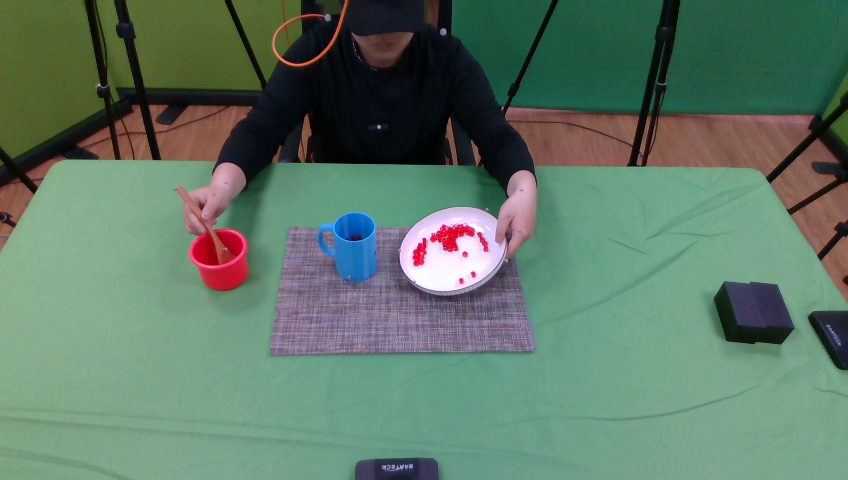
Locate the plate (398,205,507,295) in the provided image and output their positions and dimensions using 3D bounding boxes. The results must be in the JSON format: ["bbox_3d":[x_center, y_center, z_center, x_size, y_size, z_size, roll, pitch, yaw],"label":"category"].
[{"bbox_3d":[0.055,0.021,1.139,0.207,0.039,0.206,-9,48,11],"label":"plate"}]

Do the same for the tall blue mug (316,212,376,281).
[{"bbox_3d":[-0.142,0.014,1.109,0.107,0.108,0.077,-5,47,-8],"label":"tall blue mug"}]

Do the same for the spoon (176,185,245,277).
[{"bbox_3d":[-0.381,-0.015,1.083,0.021,0.194,0.041,-10,26,36],"label":"spoon"}]
